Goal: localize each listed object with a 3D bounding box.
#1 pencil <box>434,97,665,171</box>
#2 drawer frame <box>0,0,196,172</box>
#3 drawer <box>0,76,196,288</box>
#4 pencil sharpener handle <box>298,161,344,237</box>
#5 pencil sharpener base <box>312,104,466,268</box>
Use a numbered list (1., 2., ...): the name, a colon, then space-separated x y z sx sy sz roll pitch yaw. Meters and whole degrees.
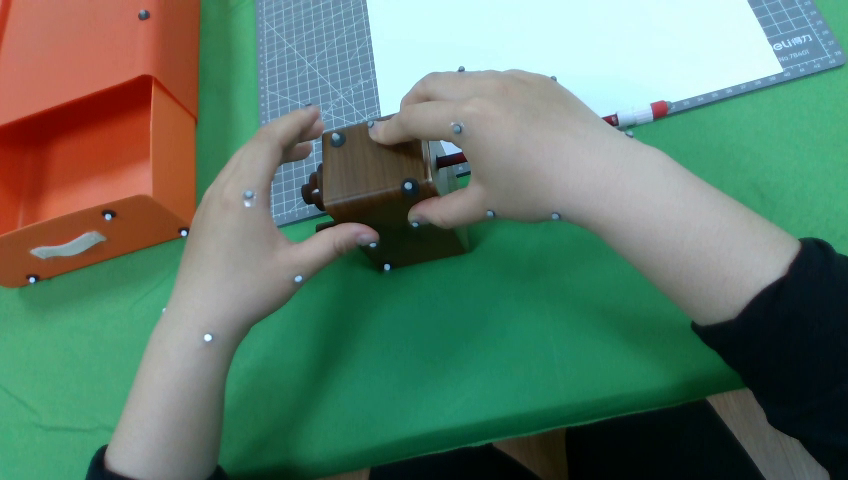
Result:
1. pencil: 0.049 -0.057 0.374 0.194 0.012 0.012 -14 63 9
2. drawer frame: -0.329 -0.186 0.593 0.201 0.083 0.211 -16 62 10
3. drawer: -0.308 -0.082 0.543 0.194 0.074 0.210 -17 62 10
4. pencil sharpener handle: -0.073 -0.023 0.414 0.030 0.068 0.035 -13 56 12
5. pencil sharpener base: -0.021 -0.031 0.415 0.076 0.108 0.061 -13 63 12
